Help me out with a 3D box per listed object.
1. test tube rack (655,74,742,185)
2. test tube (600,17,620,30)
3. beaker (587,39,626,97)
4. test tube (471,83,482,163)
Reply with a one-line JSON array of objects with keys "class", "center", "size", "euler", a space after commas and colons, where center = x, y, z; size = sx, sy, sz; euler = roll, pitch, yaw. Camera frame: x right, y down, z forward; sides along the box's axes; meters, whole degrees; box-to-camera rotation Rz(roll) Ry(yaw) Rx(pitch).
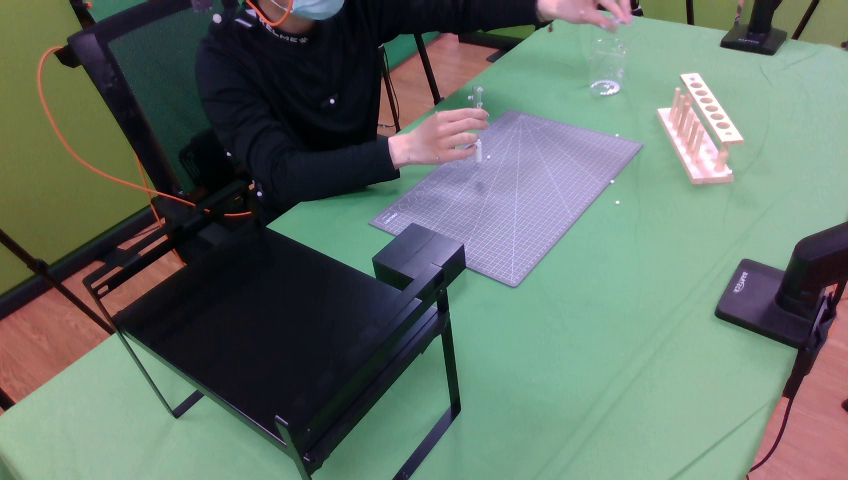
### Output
[{"class": "test tube rack", "center": [0.488, -0.205, 1.093], "size": [0.067, 0.085, 0.241], "euler": [-3, 41, 5]}, {"class": "test tube", "center": [0.318, -0.368, 1.027], "size": [0.017, 0.017, 0.151], "euler": [11, 24, 20]}, {"class": "beaker", "center": [0.386, -0.361, 1.280], "size": [0.074, 0.101, 0.083], "euler": [-22, 43, -15]}, {"class": "test tube", "center": [0.091, -0.198, 1.043], "size": [0.017, 0.151, 0.017], "euler": [-3, 39, 3]}]
